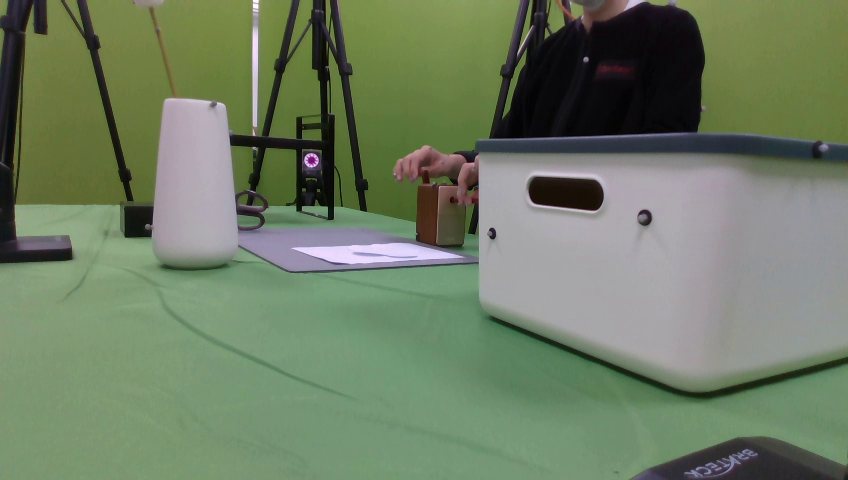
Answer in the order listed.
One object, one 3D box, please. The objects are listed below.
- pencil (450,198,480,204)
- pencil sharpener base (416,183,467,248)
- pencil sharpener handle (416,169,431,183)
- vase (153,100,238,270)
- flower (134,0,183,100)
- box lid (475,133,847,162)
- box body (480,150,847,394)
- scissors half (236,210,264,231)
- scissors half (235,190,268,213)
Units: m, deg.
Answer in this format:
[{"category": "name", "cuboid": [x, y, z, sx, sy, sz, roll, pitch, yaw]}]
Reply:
[{"category": "pencil", "cuboid": [0.088, -0.060, 0.949, 0.012, 0.012, 0.193, -2, 6, -33]}, {"category": "pencil sharpener base", "cuboid": [0.028, -0.044, 1.043, 0.061, 0.107, 0.076, -2, 8, -30]}, {"category": "pencil sharpener handle", "cuboid": [0.001, -0.093, 1.079, 0.036, 0.068, 0.030, -16, 15, -28]}, {"category": "vase", "cuboid": [-0.278, -0.066, 0.736, 0.098, 0.200, 0.098, 2, 9, 0]}, {"category": "flower", "cuboid": [-0.282, -0.147, 0.713, 0.038, 0.362, 0.044, -23, 24, -31]}, {"category": "box lid", "cuboid": [0.255, -0.073, 0.528, 0.373, 0.015, 0.262, -2, 8, -31]}, {"category": "box body", "cuboid": [0.254, 0.002, 0.539, 0.366, 0.160, 0.253, -2, 8, -31]}, {"category": "scissors half", "cuboid": [-0.369, -0.051, 1.064, 0.176, 0.040, 0.012, 19, 13, -27]}, {"category": "scissors half", "cuboid": [-0.363, -0.070, 1.060, 0.176, 0.040, 0.013, 0, 16, -23]}]
